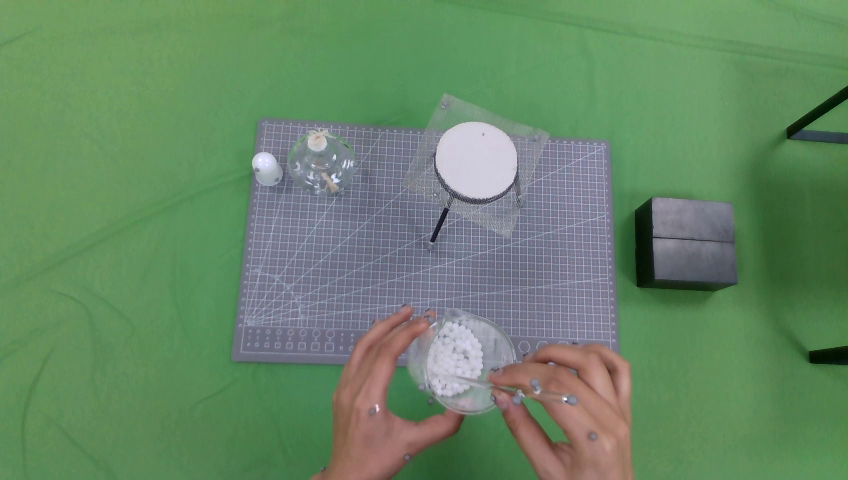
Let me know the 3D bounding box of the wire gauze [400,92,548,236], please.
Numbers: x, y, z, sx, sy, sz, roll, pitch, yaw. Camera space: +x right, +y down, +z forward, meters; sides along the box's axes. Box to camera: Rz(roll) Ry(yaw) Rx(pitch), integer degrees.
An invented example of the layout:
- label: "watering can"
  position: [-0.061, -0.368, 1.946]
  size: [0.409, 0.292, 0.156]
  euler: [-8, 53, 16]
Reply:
- label: "wire gauze"
  position: [0.053, -0.082, 0.623]
  size: [0.125, 0.011, 0.121]
  euler: [24, 75, 1]

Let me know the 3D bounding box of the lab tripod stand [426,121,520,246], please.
- label: "lab tripod stand"
  position: [0.051, -0.067, 0.689]
  size: [0.148, 0.132, 0.147]
  euler: [2, 74, -5]

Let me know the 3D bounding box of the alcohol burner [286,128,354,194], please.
- label: "alcohol burner"
  position: [-0.119, -0.097, 0.691]
  size: [0.078, 0.119, 0.077]
  euler: [2, 75, -6]

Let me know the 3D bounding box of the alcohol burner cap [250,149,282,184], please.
- label: "alcohol burner cap"
  position: [-0.189, -0.089, 0.719]
  size: [0.034, 0.048, 0.033]
  euler: [1, 75, -4]

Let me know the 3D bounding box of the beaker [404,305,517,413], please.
- label: "beaker"
  position: [0.024, 0.097, 0.506]
  size: [0.074, 0.100, 0.084]
  euler: [-20, 85, -14]

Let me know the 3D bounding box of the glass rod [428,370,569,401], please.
- label: "glass rod"
  position: [0.044, 0.104, 0.442]
  size: [0.008, 0.199, 0.008]
  euler: [3, 81, -23]
